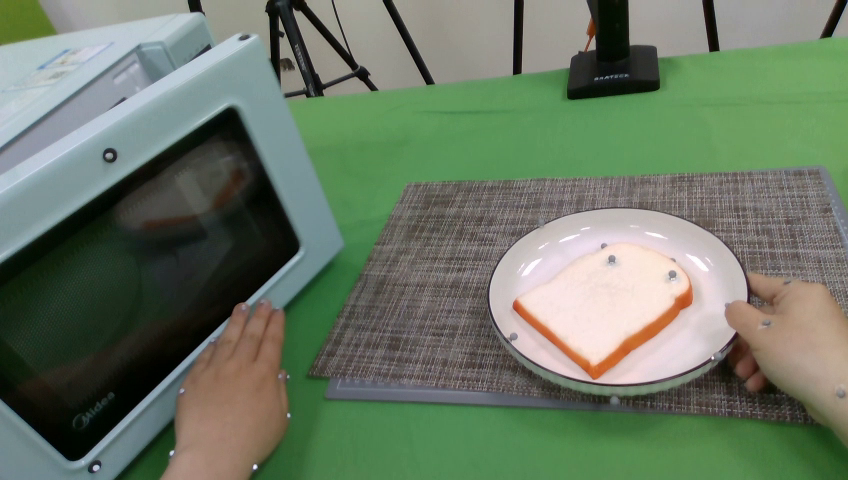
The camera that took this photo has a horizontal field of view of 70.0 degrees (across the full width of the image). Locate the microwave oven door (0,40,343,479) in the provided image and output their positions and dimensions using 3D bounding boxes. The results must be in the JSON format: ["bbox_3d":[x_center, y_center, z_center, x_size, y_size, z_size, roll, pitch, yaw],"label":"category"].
[{"bbox_3d":[-0.223,0.025,0.501,0.039,0.246,0.354,13,46,33],"label":"microwave oven door"}]

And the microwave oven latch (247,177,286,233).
[{"bbox_3d":[-0.198,-0.044,0.747,0.030,0.030,0.078,0,41,20],"label":"microwave oven latch"}]

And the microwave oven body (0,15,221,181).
[{"bbox_3d":[-0.402,0.002,0.606,0.325,0.263,0.438,-1,41,18],"label":"microwave oven body"}]

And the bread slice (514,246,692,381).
[{"bbox_3d":[0.157,0.051,0.518,0.131,0.019,0.103,-30,40,-17],"label":"bread slice"}]

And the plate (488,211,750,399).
[{"bbox_3d":[0.159,0.051,0.515,0.209,0.038,0.207,-11,38,9],"label":"plate"}]
